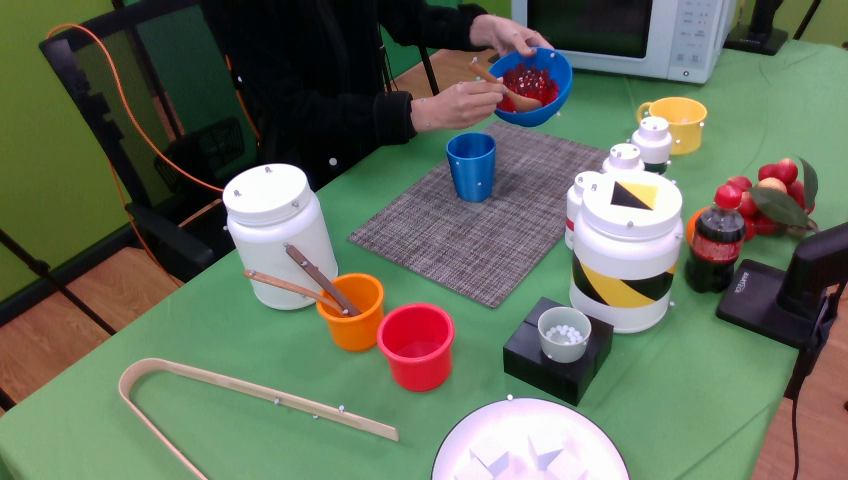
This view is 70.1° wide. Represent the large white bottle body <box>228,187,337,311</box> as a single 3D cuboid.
[{"bbox_3d":[-0.207,-0.002,0.883,0.130,0.185,0.130,-4,40,4],"label":"large white bottle body"}]

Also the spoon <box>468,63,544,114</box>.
[{"bbox_3d":[0.128,-0.232,0.946,0.041,0.195,0.021,-39,51,28],"label":"spoon"}]

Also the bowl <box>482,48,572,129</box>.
[{"bbox_3d":[0.180,-0.244,1.030,0.151,0.077,0.150,-8,57,14],"label":"bowl"}]

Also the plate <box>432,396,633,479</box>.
[{"bbox_3d":[0.112,0.261,0.634,0.209,0.038,0.208,-5,40,4],"label":"plate"}]

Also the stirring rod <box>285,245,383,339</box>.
[{"bbox_3d":[-0.121,0.071,0.819,0.176,0.006,0.014,44,52,-6],"label":"stirring rod"}]

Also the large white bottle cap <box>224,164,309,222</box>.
[{"bbox_3d":[-0.215,-0.066,0.829,0.115,0.018,0.114,-4,40,4],"label":"large white bottle cap"}]

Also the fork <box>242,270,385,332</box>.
[{"bbox_3d":[-0.142,0.082,0.802,0.209,0.018,0.028,28,38,-26],"label":"fork"}]

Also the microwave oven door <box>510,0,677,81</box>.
[{"bbox_3d":[0.353,-0.478,1.290,0.353,0.245,0.039,15,45,25],"label":"microwave oven door"}]

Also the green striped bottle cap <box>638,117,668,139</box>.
[{"bbox_3d":[0.369,-0.180,0.974,0.044,0.020,0.044,-4,41,4],"label":"green striped bottle cap"}]

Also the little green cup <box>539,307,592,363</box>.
[{"bbox_3d":[0.168,0.115,0.721,0.061,0.039,0.061,-4,42,4],"label":"little green cup"}]

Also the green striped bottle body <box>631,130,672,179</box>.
[{"bbox_3d":[0.375,-0.140,1.007,0.063,0.120,0.063,-5,40,5],"label":"green striped bottle body"}]

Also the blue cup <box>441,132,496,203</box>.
[{"bbox_3d":[0.083,-0.120,1.040,0.092,0.100,0.092,-4,41,4],"label":"blue cup"}]

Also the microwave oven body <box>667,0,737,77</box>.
[{"bbox_3d":[0.462,-0.552,1.369,0.439,0.261,0.326,15,45,26],"label":"microwave oven body"}]

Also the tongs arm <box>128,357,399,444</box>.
[{"bbox_3d":[-0.213,0.205,0.755,0.382,0.026,0.051,12,46,23],"label":"tongs arm"}]

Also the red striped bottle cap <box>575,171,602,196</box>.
[{"bbox_3d":[0.242,-0.081,0.876,0.044,0.018,0.044,-5,44,5],"label":"red striped bottle cap"}]

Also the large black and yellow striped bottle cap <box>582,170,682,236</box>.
[{"bbox_3d":[0.252,-0.048,0.735,0.115,0.019,0.114,-3,40,3],"label":"large black and yellow striped bottle cap"}]

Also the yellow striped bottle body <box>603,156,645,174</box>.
[{"bbox_3d":[0.313,-0.089,0.956,0.063,0.121,0.062,-4,39,4],"label":"yellow striped bottle body"}]

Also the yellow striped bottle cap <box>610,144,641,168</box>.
[{"bbox_3d":[0.307,-0.128,0.923,0.044,0.019,0.044,-6,39,5],"label":"yellow striped bottle cap"}]

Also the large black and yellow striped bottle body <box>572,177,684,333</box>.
[{"bbox_3d":[0.262,0.017,0.788,0.131,0.185,0.130,-5,40,4],"label":"large black and yellow striped bottle body"}]

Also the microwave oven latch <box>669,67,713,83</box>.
[{"bbox_3d":[0.556,-0.348,1.261,0.078,0.029,0.030,16,46,27],"label":"microwave oven latch"}]

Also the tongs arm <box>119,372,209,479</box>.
[{"bbox_3d":[-0.258,0.257,0.700,0.384,0.028,0.028,24,55,34],"label":"tongs arm"}]

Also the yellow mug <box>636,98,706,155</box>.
[{"bbox_3d":[0.453,-0.217,1.128,0.100,0.064,0.129,-34,46,-27],"label":"yellow mug"}]

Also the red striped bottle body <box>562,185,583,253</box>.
[{"bbox_3d":[0.246,-0.040,0.910,0.063,0.120,0.062,0,38,1],"label":"red striped bottle body"}]
